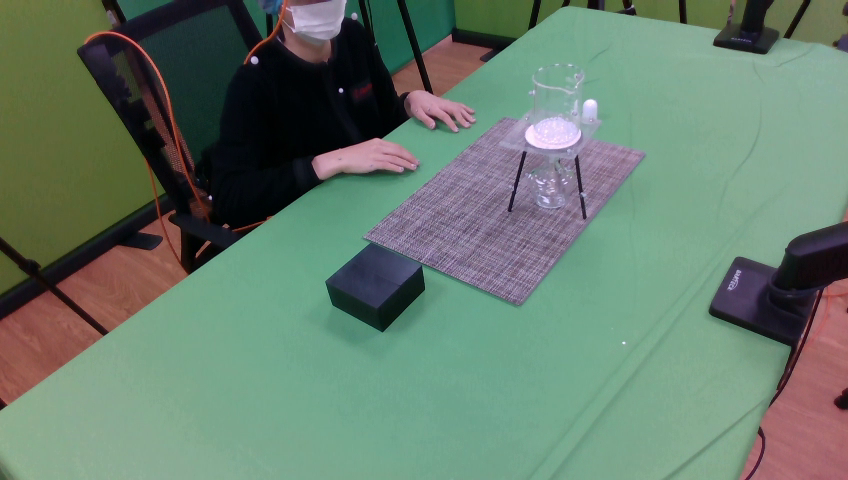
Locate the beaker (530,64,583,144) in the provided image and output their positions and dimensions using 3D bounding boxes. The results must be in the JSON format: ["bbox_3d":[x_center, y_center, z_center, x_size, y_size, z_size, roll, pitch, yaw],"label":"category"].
[{"bbox_3d":[0.201,-0.201,0.909,0.074,0.101,0.083,-19,43,-10],"label":"beaker"}]

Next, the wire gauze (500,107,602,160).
[{"bbox_3d":[0.199,-0.166,0.945,0.120,0.011,0.125,17,50,28],"label":"wire gauze"}]

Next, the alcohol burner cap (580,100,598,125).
[{"bbox_3d":[0.331,-0.258,1.210,0.034,0.048,0.033,-5,41,4],"label":"alcohol burner cap"}]

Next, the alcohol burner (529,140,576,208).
[{"bbox_3d":[0.211,-0.112,0.995,0.078,0.119,0.077,-6,41,6],"label":"alcohol burner"}]

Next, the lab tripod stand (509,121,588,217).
[{"bbox_3d":[0.208,-0.114,0.983,0.148,0.132,0.147,-5,42,5],"label":"lab tripod stand"}]
